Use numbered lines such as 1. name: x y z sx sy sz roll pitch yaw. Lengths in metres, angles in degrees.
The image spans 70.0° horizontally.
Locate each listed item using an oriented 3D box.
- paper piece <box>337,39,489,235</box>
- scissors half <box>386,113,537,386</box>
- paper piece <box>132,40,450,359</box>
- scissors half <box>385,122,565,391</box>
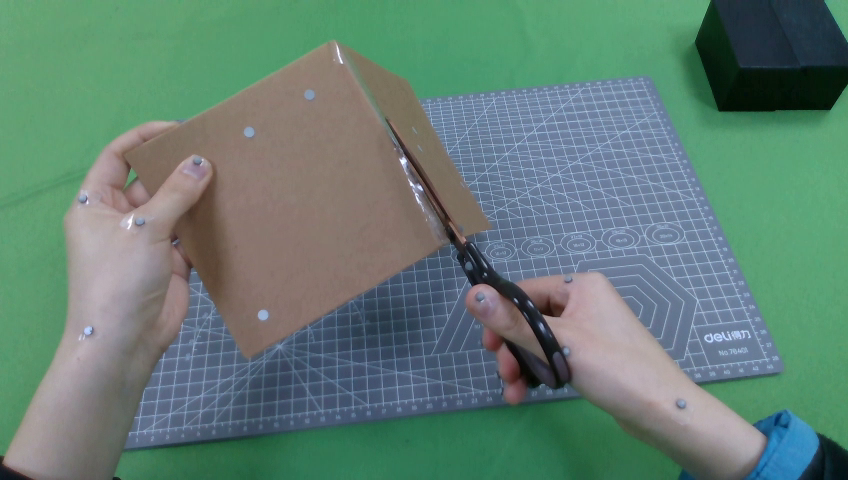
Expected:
1. paper piece: 0.002 -0.064 0.407 0.004 0.136 0.135 -31 86 15
2. scissors half: 0.021 0.006 0.345 0.013 0.040 0.175 -29 96 -8
3. paper piece: -0.078 -0.024 0.344 0.138 0.009 0.135 -29 84 3
4. scissors half: 0.022 0.001 0.323 0.013 0.040 0.174 -28 69 -13
